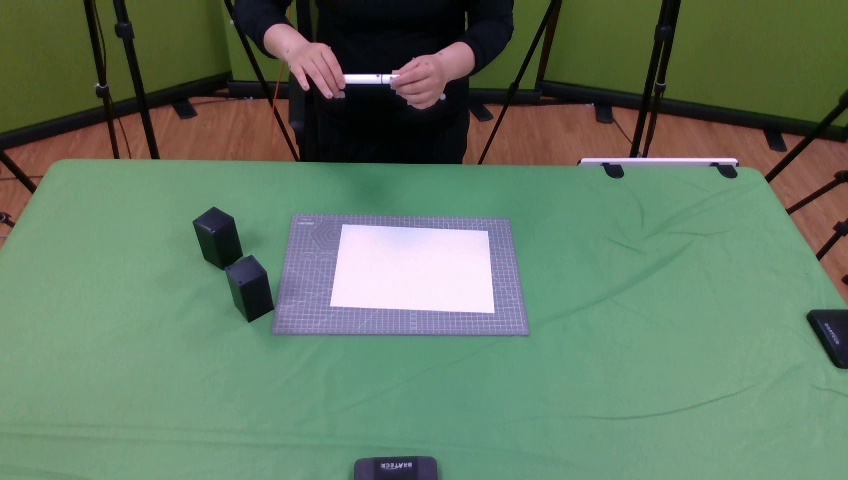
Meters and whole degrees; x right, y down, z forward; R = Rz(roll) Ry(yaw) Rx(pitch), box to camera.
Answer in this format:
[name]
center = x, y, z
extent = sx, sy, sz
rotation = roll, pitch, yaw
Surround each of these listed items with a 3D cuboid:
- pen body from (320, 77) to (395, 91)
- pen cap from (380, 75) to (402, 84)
[pen body]
center = -0.121, -0.285, 1.106
extent = 0.144, 0.017, 0.017
rotation = -1, 43, 17
[pen cap]
center = -0.059, -0.290, 1.095
extent = 0.038, 0.017, 0.017
rotation = 0, 45, 8
